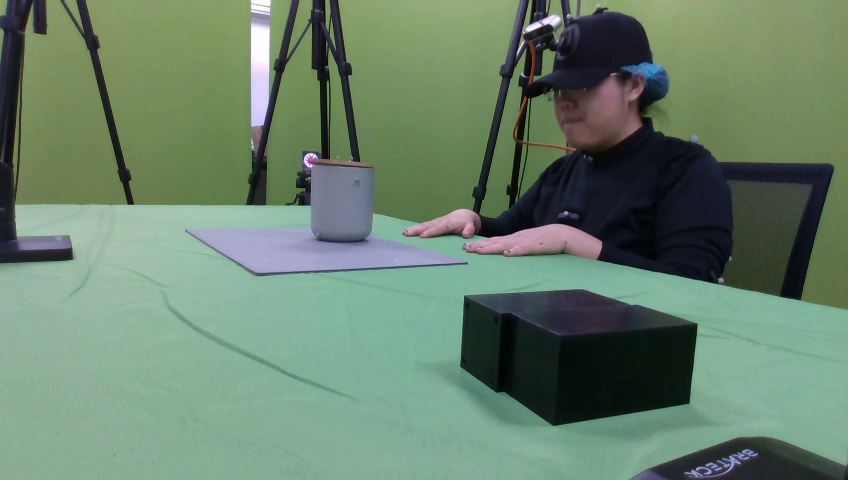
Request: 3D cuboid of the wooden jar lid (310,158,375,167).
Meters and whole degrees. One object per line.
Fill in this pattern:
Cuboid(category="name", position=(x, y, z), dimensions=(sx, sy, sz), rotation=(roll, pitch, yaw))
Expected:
Cuboid(category="wooden jar lid", position=(-0.136, -0.124, 1.015), dimensions=(0.108, 0.020, 0.108), rotation=(5, 8, 0))

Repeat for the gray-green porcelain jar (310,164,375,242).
Cuboid(category="gray-green porcelain jar", position=(-0.139, -0.063, 1.023), dimensions=(0.106, 0.126, 0.106), rotation=(3, 8, 0))
